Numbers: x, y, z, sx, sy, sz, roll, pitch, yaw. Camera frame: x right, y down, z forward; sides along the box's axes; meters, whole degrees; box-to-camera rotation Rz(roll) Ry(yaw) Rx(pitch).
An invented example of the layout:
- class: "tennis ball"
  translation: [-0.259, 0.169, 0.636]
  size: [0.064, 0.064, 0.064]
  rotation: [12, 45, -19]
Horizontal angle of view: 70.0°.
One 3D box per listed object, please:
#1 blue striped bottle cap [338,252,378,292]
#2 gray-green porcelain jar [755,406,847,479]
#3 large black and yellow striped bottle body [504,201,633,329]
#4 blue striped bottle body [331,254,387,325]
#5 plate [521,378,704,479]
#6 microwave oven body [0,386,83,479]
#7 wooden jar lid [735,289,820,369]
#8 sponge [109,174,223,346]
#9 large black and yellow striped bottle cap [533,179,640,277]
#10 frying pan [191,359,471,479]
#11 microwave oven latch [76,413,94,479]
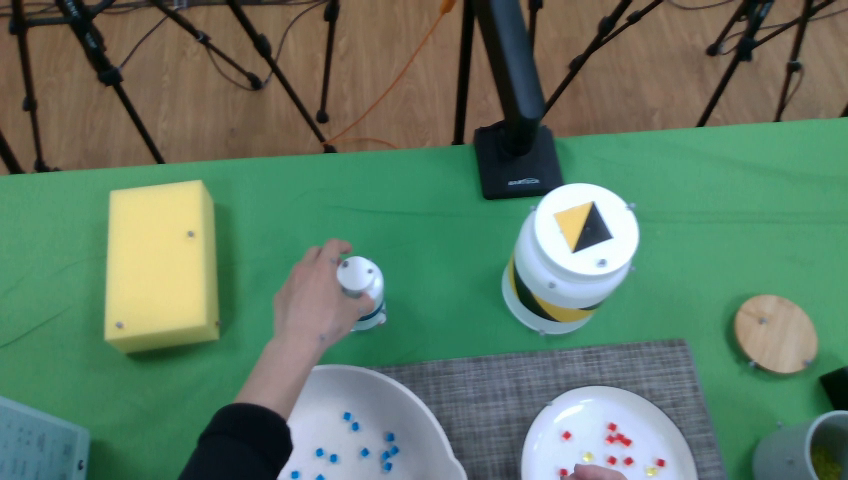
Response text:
- class: "blue striped bottle cap"
  translation: [-0.076, 0.036, 0.700]
  size: [0.044, 0.021, 0.044]
  rotation: [0, 67, 0]
- class: "gray-green porcelain jar"
  translation: [0.447, 0.251, 0.679]
  size: [0.106, 0.127, 0.105]
  rotation: [1, 65, -2]
- class: "large black and yellow striped bottle body"
  translation: [0.175, 0.022, 0.741]
  size: [0.131, 0.185, 0.129]
  rotation: [1, 64, -2]
- class: "blue striped bottle body"
  translation: [-0.079, 0.057, 0.747]
  size: [0.063, 0.121, 0.062]
  rotation: [1, 65, -1]
- class: "plate"
  translation: [0.214, 0.267, 0.705]
  size: [0.209, 0.038, 0.207]
  rotation: [1, 65, -2]
- class: "microwave oven body"
  translation: [-0.517, 0.363, 0.502]
  size: [0.326, 0.262, 0.438]
  rotation: [-4, 66, -5]
- class: "wooden jar lid"
  translation: [0.464, 0.118, 0.800]
  size: [0.108, 0.021, 0.107]
  rotation: [1, 66, -2]
- class: "sponge"
  translation: [-0.332, 0.024, 0.783]
  size: [0.118, 0.061, 0.205]
  rotation: [-10, 66, -6]
- class: "large black and yellow striped bottle cap"
  translation: [0.178, -0.015, 0.663]
  size: [0.115, 0.019, 0.114]
  rotation: [1, 63, -1]
- class: "frying pan"
  translation: [-0.090, 0.366, 0.609]
  size: [0.307, 0.103, 0.483]
  rotation: [-6, 57, -3]
- class: "microwave oven latch"
  translation: [-0.391, 0.235, 0.674]
  size: [0.030, 0.030, 0.078]
  rotation: [0, 66, -3]
